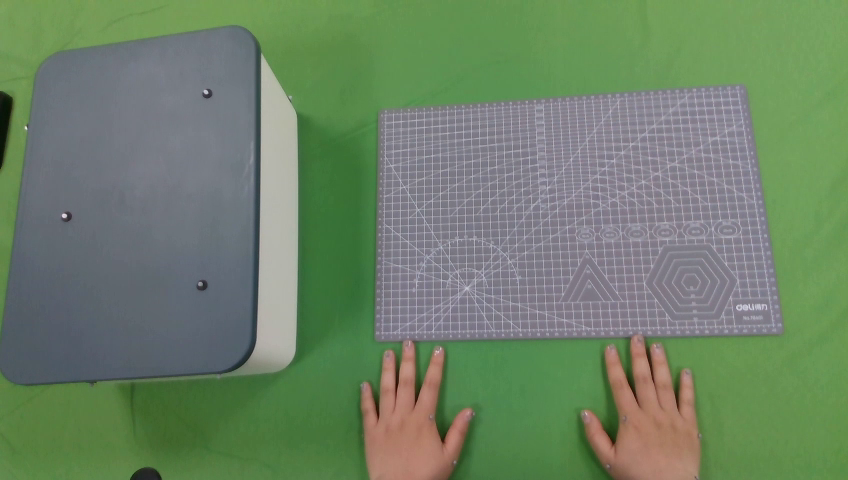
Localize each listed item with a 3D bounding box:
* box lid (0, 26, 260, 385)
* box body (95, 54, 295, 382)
[{"bbox_3d":[-0.297,-0.046,0.621,0.263,0.015,0.369,-5,75,6],"label":"box lid"},{"bbox_3d":[-0.287,-0.024,0.691,0.254,0.161,0.362,-5,74,6],"label":"box body"}]
